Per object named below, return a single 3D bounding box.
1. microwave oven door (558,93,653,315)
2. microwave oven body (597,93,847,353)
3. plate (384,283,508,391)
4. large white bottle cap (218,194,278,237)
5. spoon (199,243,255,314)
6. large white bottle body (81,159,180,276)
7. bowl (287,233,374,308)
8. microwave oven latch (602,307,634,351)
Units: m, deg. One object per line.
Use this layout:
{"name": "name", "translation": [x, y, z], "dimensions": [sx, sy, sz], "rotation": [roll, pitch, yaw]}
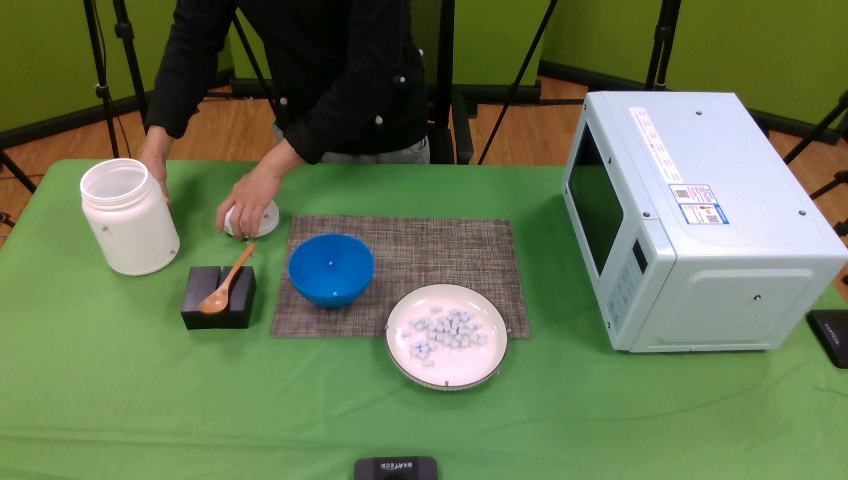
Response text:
{"name": "microwave oven door", "translation": [0.327, -0.074, 1.123], "dimensions": [0.039, 0.245, 0.353], "rotation": [-1, 46, -5]}
{"name": "microwave oven body", "translation": [0.475, -0.041, 1.109], "dimensions": [0.326, 0.261, 0.438], "rotation": [-1, 45, -4]}
{"name": "plate", "translation": [0.036, 0.166, 1.029], "dimensions": [0.209, 0.038, 0.208], "rotation": [2, 49, -2]}
{"name": "large white bottle cap", "translation": [-0.353, -0.050, 1.218], "dimensions": [0.115, 0.018, 0.114], "rotation": [6, 44, -5]}
{"name": "spoon", "translation": [-0.333, 0.063, 1.051], "dimensions": [0.041, 0.022, 0.193], "rotation": [6, 40, 9]}
{"name": "large white bottle body", "translation": [-0.524, -0.041, 1.085], "dimensions": [0.131, 0.185, 0.130], "rotation": [2, 46, -2]}
{"name": "bowl", "translation": [-0.165, 0.068, 1.078], "dimensions": [0.151, 0.077, 0.150], "rotation": [3, 46, -3]}
{"name": "microwave oven latch", "translation": [0.332, 0.153, 1.044], "dimensions": [0.030, 0.029, 0.078], "rotation": [0, 45, -4]}
